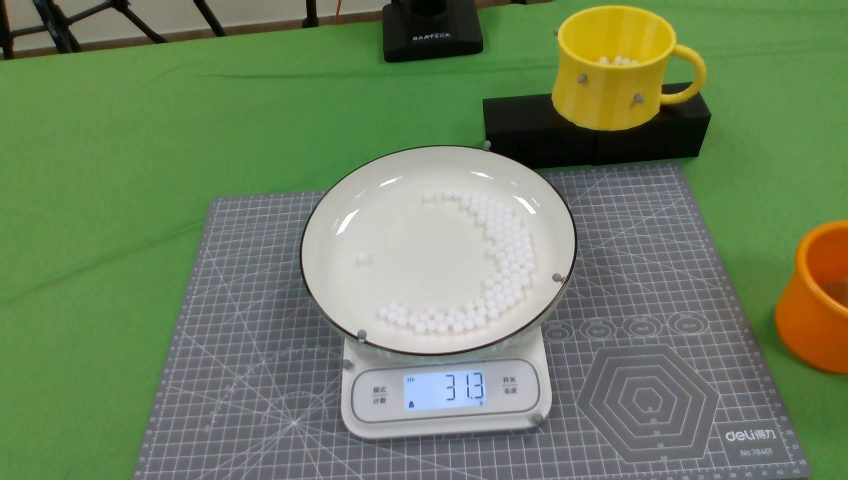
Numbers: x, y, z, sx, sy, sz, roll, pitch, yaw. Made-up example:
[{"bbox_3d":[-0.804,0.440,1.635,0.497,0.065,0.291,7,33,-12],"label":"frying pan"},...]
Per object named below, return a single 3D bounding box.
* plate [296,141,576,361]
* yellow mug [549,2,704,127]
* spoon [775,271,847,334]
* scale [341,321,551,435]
[{"bbox_3d":[0.009,0.005,0.465,0.209,0.038,0.207,-2,50,3],"label":"plate"},{"bbox_3d":[0.180,-0.156,0.542,0.130,0.064,0.099,13,53,16],"label":"yellow mug"},{"bbox_3d":[0.328,0.007,0.400,0.022,0.194,0.041,26,38,-30],"label":"spoon"},{"bbox_3d":[0.012,0.048,0.471,0.148,0.032,0.199,-5,50,3],"label":"scale"}]
